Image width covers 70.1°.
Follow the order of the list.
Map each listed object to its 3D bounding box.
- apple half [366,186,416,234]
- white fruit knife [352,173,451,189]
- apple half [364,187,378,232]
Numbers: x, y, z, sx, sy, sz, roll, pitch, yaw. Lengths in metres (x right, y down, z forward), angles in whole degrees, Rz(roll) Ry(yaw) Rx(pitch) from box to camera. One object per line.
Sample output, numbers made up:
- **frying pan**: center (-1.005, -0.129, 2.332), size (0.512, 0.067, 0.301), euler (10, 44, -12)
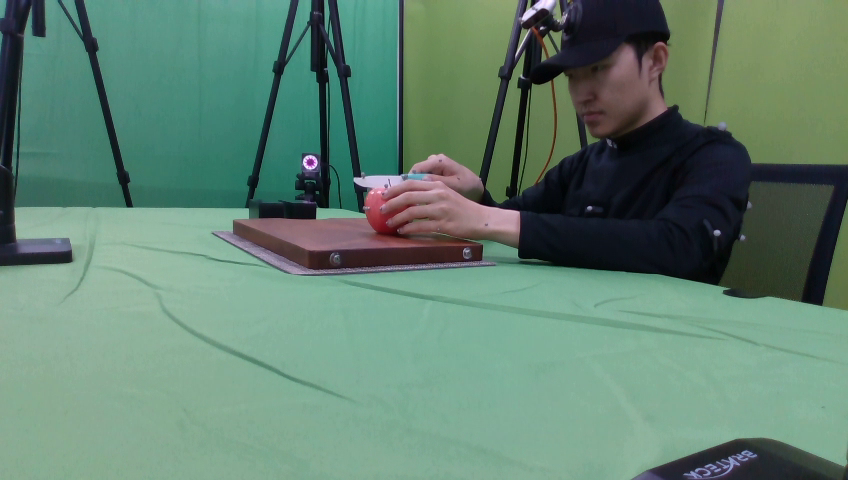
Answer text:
- **apple half**: center (-0.044, -0.046, 0.940), size (0.081, 0.074, 0.053), euler (-1, 9, -43)
- **white fruit knife**: center (-0.031, -0.096, 0.978), size (0.208, 0.027, 0.016), euler (-5, 9, -44)
- **apple half**: center (-0.071, -0.051, 0.968), size (0.082, 0.081, 0.032), euler (-4, 13, -44)
